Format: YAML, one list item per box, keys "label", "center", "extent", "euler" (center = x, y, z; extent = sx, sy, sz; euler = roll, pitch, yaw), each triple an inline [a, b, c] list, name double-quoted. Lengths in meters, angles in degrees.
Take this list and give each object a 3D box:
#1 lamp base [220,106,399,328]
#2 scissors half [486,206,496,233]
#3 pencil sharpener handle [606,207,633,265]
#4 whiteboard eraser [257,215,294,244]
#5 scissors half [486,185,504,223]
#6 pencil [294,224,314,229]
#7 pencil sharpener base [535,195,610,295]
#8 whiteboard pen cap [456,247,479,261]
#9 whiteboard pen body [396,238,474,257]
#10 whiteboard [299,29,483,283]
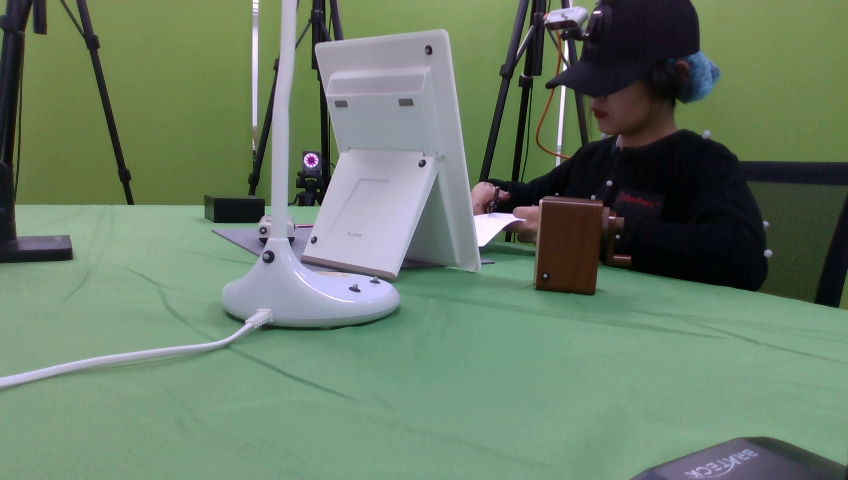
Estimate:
- label: "lamp base"
  center: [-0.102, -0.023, 0.531]
  extent: [0.160, 0.180, 0.179]
  euler: [4, 10, 10]
- label: "scissors half"
  center: [0.127, -0.044, 1.159]
  extent: [0.013, 0.040, 0.175]
  euler: [18, -8, 9]
- label: "pencil sharpener handle"
  center: [0.223, -0.004, 0.683]
  extent: [0.030, 0.068, 0.036]
  euler: [5, 21, 16]
- label: "whiteboard eraser"
  center: [-0.232, -0.016, 0.951]
  extent: [0.056, 0.042, 0.112]
  euler: [2, 7, -12]
- label: "scissors half"
  center: [0.133, -0.067, 1.155]
  extent: [0.013, 0.040, 0.175]
  euler: [14, 28, 11]
- label: "pencil"
  center: [-0.220, -0.028, 1.210]
  extent: [0.195, 0.012, 0.012]
  euler: [-5, 10, -34]
- label: "pencil sharpener base"
  center: [0.172, 0.005, 0.695]
  extent: [0.076, 0.107, 0.061]
  euler: [5, 7, 16]
- label: "whiteboard pen cap"
  center: [0.060, 0.020, 0.851]
  extent: [0.033, 0.018, 0.018]
  euler: [9, 10, 37]
- label: "whiteboard pen body"
  center: [0.014, 0.012, 0.886]
  extent: [0.140, 0.017, 0.017]
  euler: [9, 10, 38]
- label: "whiteboard"
  center: [-0.074, -0.082, 0.742]
  extent: [0.216, 0.305, 0.144]
  euler: [9, 30, 38]
